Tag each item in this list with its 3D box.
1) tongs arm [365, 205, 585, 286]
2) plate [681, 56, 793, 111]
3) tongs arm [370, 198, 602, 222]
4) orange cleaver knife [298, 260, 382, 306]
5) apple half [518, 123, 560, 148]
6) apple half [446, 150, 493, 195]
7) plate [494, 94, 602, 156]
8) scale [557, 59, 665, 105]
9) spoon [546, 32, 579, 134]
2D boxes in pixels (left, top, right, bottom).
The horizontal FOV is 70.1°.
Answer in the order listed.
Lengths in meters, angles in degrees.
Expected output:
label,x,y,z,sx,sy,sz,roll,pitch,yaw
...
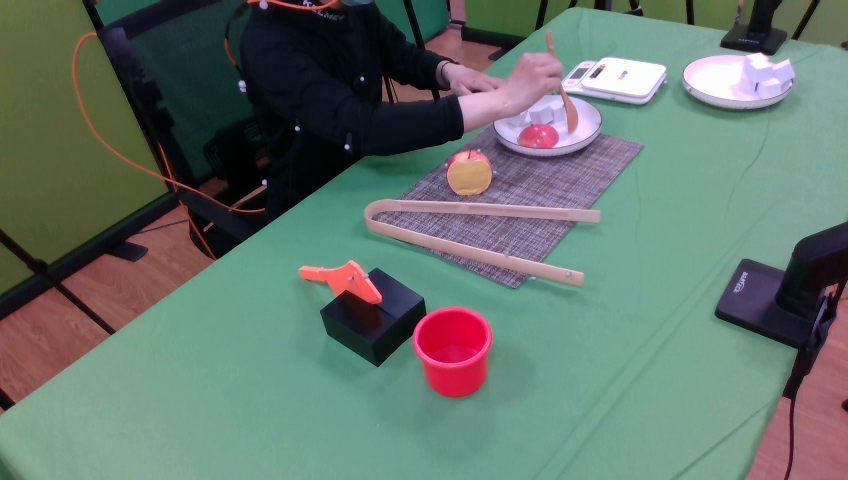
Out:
label,x,y,z,sx,sy,sz,roll,pitch,yaw
tongs arm,0.067,0.004,0.951,0.382,0.026,0.051,13,45,23
plate,0.636,-0.317,1.239,0.207,0.039,0.206,-4,40,4
tongs arm,0.097,-0.048,1.009,0.386,0.028,0.028,3,46,13
orange cleaver knife,-0.125,0.063,0.876,0.012,0.077,0.210,-38,19,-29
apple half,0.221,-0.207,1.160,0.081,0.033,0.081,-6,42,6
apple half,0.080,-0.123,1.065,0.081,0.075,0.053,-7,37,6
plate,0.240,-0.221,1.181,0.209,0.038,0.208,-4,41,4
scale,0.407,-0.348,1.314,0.199,0.032,0.149,19,47,28
spoon,0.256,-0.291,1.130,0.021,0.194,0.042,-5,26,46
